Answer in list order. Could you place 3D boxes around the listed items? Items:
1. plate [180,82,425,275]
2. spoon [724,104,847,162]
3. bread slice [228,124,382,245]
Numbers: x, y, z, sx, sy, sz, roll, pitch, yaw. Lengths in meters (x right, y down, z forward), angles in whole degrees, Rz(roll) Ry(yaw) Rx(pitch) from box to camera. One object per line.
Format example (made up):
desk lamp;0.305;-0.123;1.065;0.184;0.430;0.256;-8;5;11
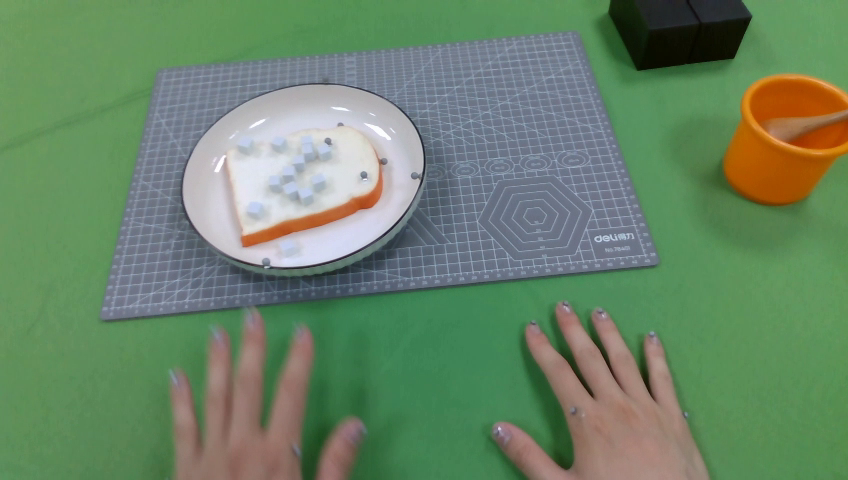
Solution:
plate;-0.102;-0.055;0.528;0.209;0.038;0.207;-1;56;2
spoon;0.329;-0.104;0.469;0.193;0.022;0.041;-18;46;42
bread slice;-0.105;-0.058;0.534;0.132;0.019;0.104;-18;58;-8
